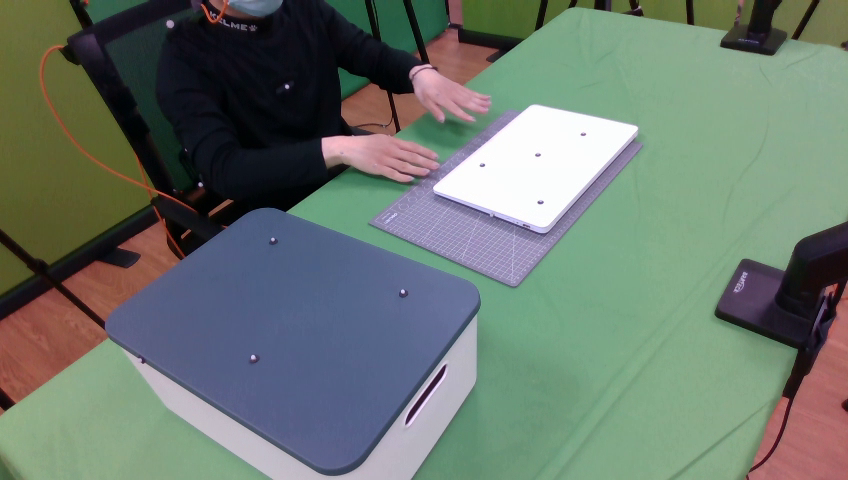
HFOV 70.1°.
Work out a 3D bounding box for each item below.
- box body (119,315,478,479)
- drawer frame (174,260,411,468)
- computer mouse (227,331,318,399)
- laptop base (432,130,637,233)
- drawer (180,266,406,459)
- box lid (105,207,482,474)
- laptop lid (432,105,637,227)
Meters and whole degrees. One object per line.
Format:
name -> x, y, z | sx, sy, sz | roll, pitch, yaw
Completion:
box body -> -0.140, 0.136, 0.725 | 0.361, 0.161, 0.254 | 19, 47, 28
drawer frame -> -0.162, 0.144, 0.769 | 0.212, 0.083, 0.202 | 24, 50, 30
computer mouse -> -0.201, 0.159, 0.804 | 0.118, 0.041, 0.062 | -29, 40, -33
laptop base -> 0.210, -0.142, 1.111 | 0.233, 0.023, 0.355 | 21, 47, 34
drawer -> -0.162, 0.145, 0.771 | 0.210, 0.073, 0.195 | 22, 46, 32
box lid -> -0.149, 0.079, 0.677 | 0.369, 0.015, 0.264 | 20, 46, 28
laptop lid -> 0.207, -0.152, 1.105 | 0.239, 0.013, 0.358 | 23, 49, 34
